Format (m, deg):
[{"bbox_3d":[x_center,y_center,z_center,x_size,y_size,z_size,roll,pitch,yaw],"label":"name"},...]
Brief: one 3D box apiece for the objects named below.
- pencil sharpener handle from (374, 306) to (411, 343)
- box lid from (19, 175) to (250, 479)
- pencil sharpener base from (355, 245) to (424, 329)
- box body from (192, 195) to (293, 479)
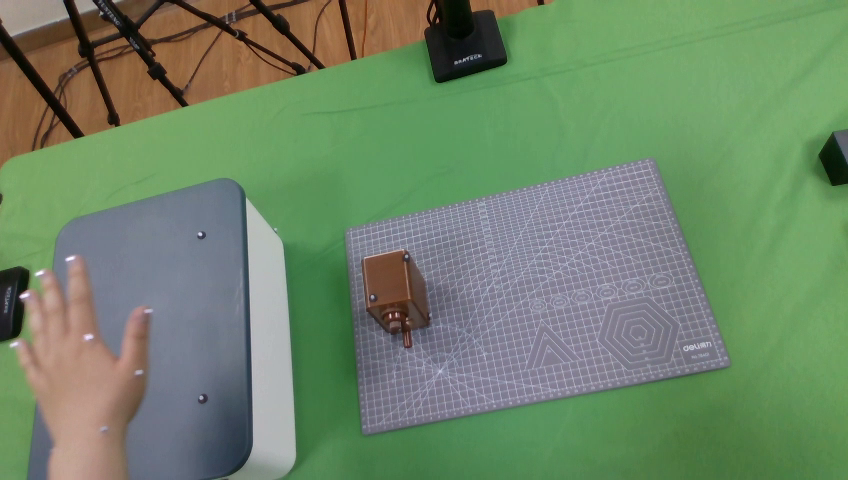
[{"bbox_3d":[-0.034,0.104,0.738,0.036,0.068,0.030,-18,62,18],"label":"pencil sharpener handle"},{"bbox_3d":[-0.334,0.100,0.710,0.263,0.015,0.368,-14,63,5],"label":"box lid"},{"bbox_3d":[-0.042,0.065,0.771,0.061,0.108,0.076,-12,64,7],"label":"pencil sharpener base"},{"bbox_3d":[-0.319,0.134,0.774,0.254,0.162,0.360,-14,63,5],"label":"box body"}]
